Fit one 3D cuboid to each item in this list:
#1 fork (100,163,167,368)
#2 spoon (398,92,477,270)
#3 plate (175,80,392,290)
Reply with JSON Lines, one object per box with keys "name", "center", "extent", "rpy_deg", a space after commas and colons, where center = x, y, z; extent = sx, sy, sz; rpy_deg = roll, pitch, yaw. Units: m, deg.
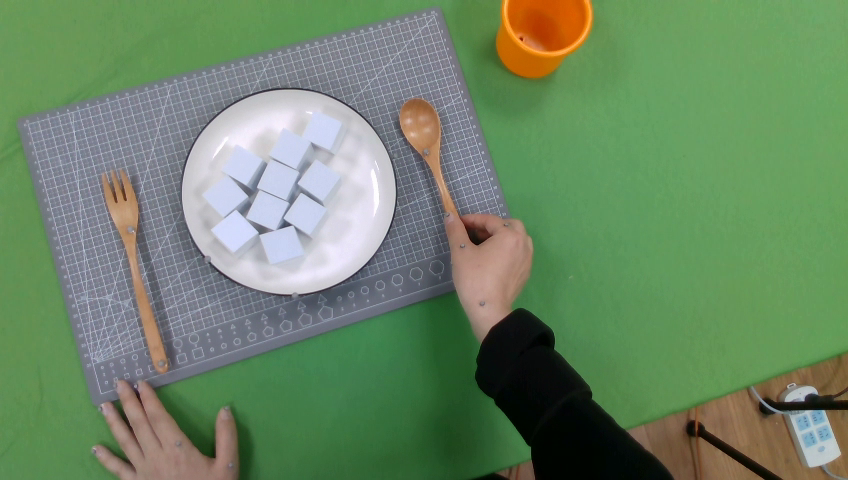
{"name": "fork", "center": [-0.282, 0.024, 0.594], "extent": [0.028, 0.018, 0.206], "rpy_deg": [-15, 84, -12]}
{"name": "spoon", "center": [0.016, -0.060, 0.625], "extent": [0.041, 0.022, 0.193], "rpy_deg": [-19, 84, 7]}
{"name": "plate", "center": [-0.136, -0.053, 0.606], "extent": [0.208, 0.039, 0.207], "rpy_deg": [1, 84, -5]}
